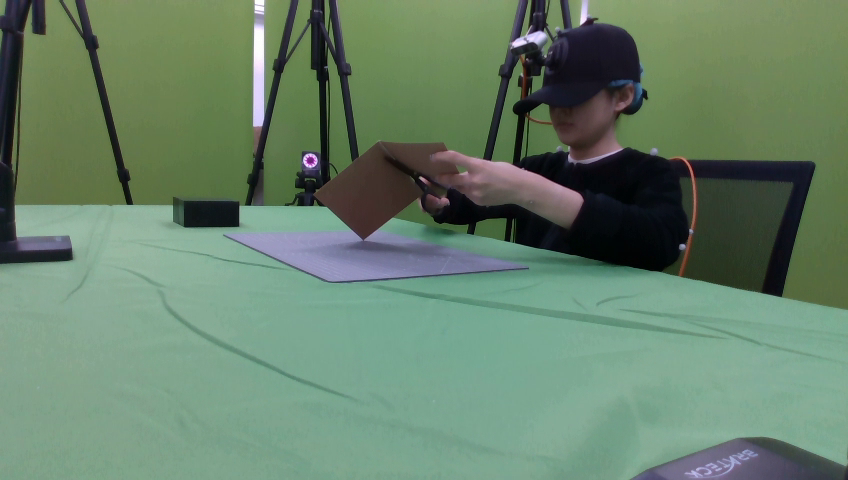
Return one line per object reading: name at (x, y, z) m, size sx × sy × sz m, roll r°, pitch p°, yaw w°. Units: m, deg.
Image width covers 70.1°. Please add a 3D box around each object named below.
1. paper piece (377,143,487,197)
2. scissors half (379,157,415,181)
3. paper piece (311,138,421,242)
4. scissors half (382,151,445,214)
paper piece at (0.012, -0.108, 0.931) m, size 0.135 × 0.004 × 0.136 m, roll 12°, pitch -20°, yaw 43°
scissors half at (-0.008, -0.114, 1.004) m, size 0.176 × 0.040 × 0.012 m, roll 9°, pitch 11°, yaw -44°
paper piece at (-0.091, -0.076, 0.984) m, size 0.136 × 0.138 × 0.008 m, roll 47°, pitch 6°, yaw -37°
scissors half at (-0.017, -0.094, 1.003) m, size 0.013 × 0.040 × 0.176 m, roll 18°, pitch -19°, yaw 44°
